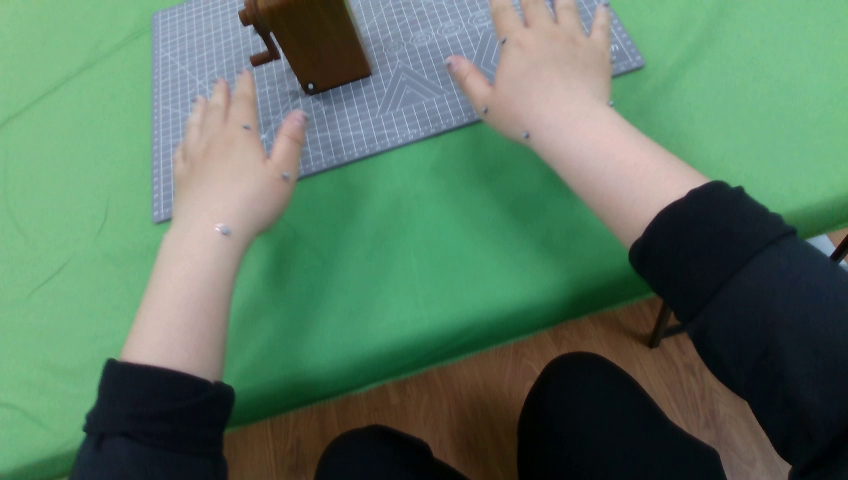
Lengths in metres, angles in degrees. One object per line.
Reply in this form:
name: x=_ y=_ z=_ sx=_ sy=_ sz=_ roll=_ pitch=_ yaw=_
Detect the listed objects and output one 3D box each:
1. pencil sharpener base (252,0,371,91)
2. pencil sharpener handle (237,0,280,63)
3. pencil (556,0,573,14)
pencil sharpener base: x=-0.101 y=-0.197 z=0.543 sx=0.077 sy=0.108 sz=0.060 roll=-20 pitch=59 yaw=2
pencil sharpener handle: x=-0.151 y=-0.186 z=0.534 sx=0.030 sy=0.068 sz=0.035 roll=-20 pitch=58 yaw=2
pencil: x=0.104 y=-0.285 z=0.602 sx=0.012 sy=0.012 sz=0.192 roll=-21 pitch=58 yaw=1
